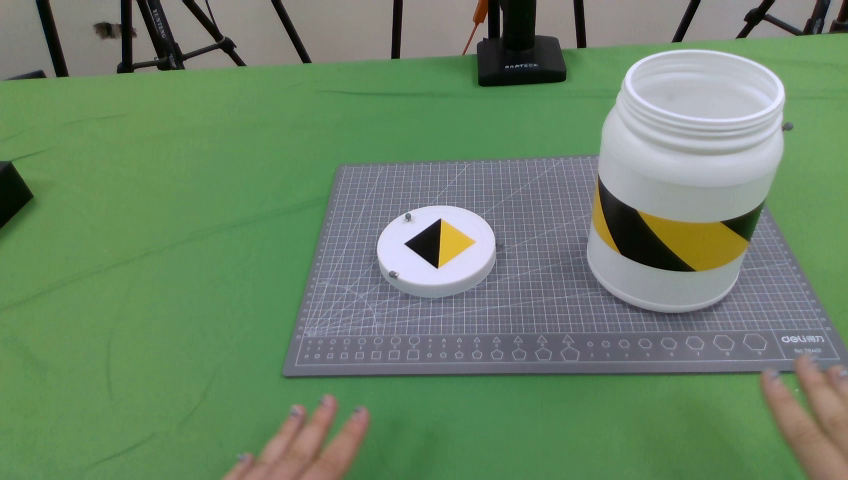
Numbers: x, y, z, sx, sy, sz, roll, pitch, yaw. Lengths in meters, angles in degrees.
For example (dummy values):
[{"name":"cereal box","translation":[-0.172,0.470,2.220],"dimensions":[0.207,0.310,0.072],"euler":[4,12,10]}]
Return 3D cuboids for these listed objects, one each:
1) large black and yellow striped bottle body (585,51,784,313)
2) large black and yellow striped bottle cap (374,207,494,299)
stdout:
[{"name":"large black and yellow striped bottle body","translation":[0.205,-0.045,0.494],"dimensions":[0.131,0.186,0.129],"euler":[-3,42,4]},{"name":"large black and yellow striped bottle cap","translation":[0.009,0.009,0.584],"dimensions":[0.115,0.019,0.114],"euler":[-2,43,2]}]
